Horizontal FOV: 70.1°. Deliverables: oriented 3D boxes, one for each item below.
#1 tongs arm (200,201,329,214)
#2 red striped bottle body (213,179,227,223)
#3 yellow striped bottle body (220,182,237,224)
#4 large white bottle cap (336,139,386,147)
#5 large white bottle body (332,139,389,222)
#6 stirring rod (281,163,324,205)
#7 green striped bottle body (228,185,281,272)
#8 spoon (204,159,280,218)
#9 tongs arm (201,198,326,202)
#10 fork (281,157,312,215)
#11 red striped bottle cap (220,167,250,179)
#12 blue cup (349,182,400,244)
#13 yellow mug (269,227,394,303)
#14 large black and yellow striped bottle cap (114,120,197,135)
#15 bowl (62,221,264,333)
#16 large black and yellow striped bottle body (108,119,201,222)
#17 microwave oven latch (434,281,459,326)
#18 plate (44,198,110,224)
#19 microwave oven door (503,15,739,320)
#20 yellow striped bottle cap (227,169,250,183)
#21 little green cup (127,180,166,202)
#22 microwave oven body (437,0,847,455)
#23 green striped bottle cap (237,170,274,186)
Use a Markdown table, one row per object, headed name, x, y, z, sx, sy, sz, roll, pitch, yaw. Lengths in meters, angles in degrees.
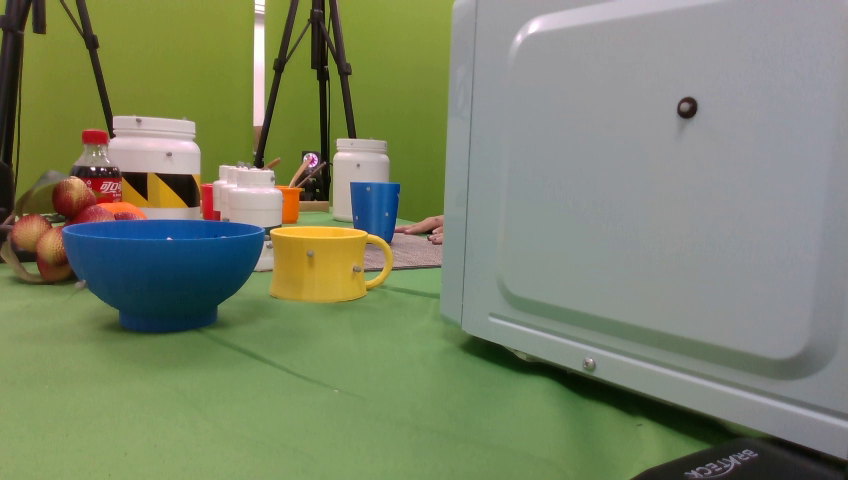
| name | x | y | z | sx | sy | sz | roll | pitch | yaw |
| --- | --- | --- | --- | --- | --- | --- | --- | --- | --- |
| tongs arm | -0.378 | -0.079 | 1.440 | 0.387 | 0.026 | 0.050 | -4 | 8 | -44 |
| red striped bottle body | -0.284 | -0.048 | 0.909 | 0.063 | 0.119 | 0.063 | 3 | 11 | 0 |
| yellow striped bottle body | -0.246 | -0.036 | 0.825 | 0.063 | 0.120 | 0.063 | 3 | 8 | 0 |
| large white bottle cap | -0.143 | -0.219 | 1.375 | 0.115 | 0.018 | 0.115 | 2 | 8 | 0 |
| large white bottle body | -0.145 | -0.136 | 1.387 | 0.131 | 0.184 | 0.130 | 2 | 7 | 0 |
| stirring rod | -0.278 | -0.105 | 1.294 | 0.176 | 0.006 | 0.014 | -47 | 26 | -18 |
| green striped bottle body | -0.208 | -0.023 | 0.745 | 0.063 | 0.119 | 0.063 | 2 | 7 | 0 |
| spoon | -0.365 | -0.103 | 1.214 | 0.193 | 0.021 | 0.041 | -41 | 4 | 6 |
| tongs arm | -0.433 | -0.090 | 1.507 | 0.390 | 0.028 | 0.028 | 0 | 2 | -30 |
| fork | -0.289 | -0.116 | 1.321 | 0.028 | 0.019 | 0.207 | 6 | 51 | 19 |
| red striped bottle cap | -0.281 | -0.100 | 0.901 | 0.044 | 0.017 | 0.044 | -1 | 5 | 0 |
| blue cup | -0.083 | -0.046 | 1.009 | 0.093 | 0.100 | 0.092 | 1 | 6 | 0 |
| yellow mug | -0.094 | 0.023 | 0.629 | 0.131 | 0.064 | 0.099 | 0 | 7 | -22 |
| large black and yellow striped bottle cap | -0.407 | -0.171 | 0.920 | 0.115 | 0.019 | 0.115 | 2 | 9 | 0 |
| bowl | -0.209 | 0.029 | 0.496 | 0.151 | 0.077 | 0.151 | 2 | 6 | 0 |
| large black and yellow striped bottle body | -0.412 | -0.088 | 0.930 | 0.131 | 0.184 | 0.130 | 3 | 7 | 0 |
| microwave oven latch | 0.044 | 0.045 | 0.470 | 0.079 | 0.029 | 0.030 | -3 | 8 | -40 |
| plate | -0.617 | -0.056 | 1.179 | 0.209 | 0.038 | 0.209 | 3 | 7 | 0 |
| microwave oven door | 0.218 | -0.065 | 0.600 | 0.358 | 0.243 | 0.039 | -4 | 10 | -41 |
| yellow striped bottle cap | -0.243 | -0.087 | 0.818 | 0.044 | 0.018 | 0.044 | 3 | 6 | 0 |
| little green cup | -0.486 | -0.086 | 1.061 | 0.061 | 0.038 | 0.061 | 1 | 7 | 0 |
| microwave oven body | 0.279 | -0.040 | 0.464 | 0.444 | 0.260 | 0.324 | -3 | 8 | -41 |
| green striped bottle cap | -0.205 | -0.075 | 0.737 | 0.044 | 0.020 | 0.044 | 2 | 6 | 0 |
